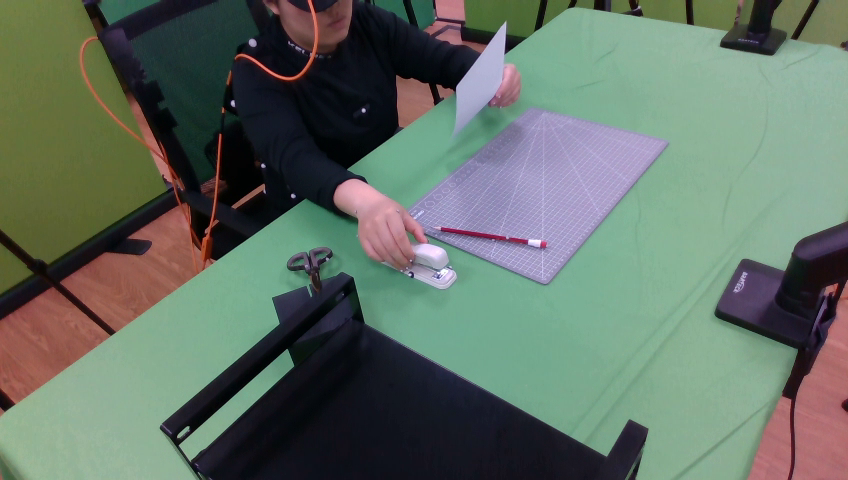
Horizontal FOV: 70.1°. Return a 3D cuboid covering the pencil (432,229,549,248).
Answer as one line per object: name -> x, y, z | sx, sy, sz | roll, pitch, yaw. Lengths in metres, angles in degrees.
pencil -> 0.103, -0.005, 0.970 | 0.193, 0.012, 0.012 | 8, 42, 18

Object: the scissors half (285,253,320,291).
scissors half -> -0.179, 0.049, 0.909 | 0.040, 0.013, 0.174 | -15, 19, -20

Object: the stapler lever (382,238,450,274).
stapler lever -> -0.013, 0.018, 0.920 | 0.117, 0.040, 0.027 | 21, 44, 31

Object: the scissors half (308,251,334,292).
scissors half -> -0.159, 0.046, 0.913 | 0.040, 0.013, 0.174 | -4, 17, -5

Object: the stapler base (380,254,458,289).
stapler base -> -0.009, 0.037, 0.934 | 0.129, 0.024, 0.041 | 20, 43, 32
